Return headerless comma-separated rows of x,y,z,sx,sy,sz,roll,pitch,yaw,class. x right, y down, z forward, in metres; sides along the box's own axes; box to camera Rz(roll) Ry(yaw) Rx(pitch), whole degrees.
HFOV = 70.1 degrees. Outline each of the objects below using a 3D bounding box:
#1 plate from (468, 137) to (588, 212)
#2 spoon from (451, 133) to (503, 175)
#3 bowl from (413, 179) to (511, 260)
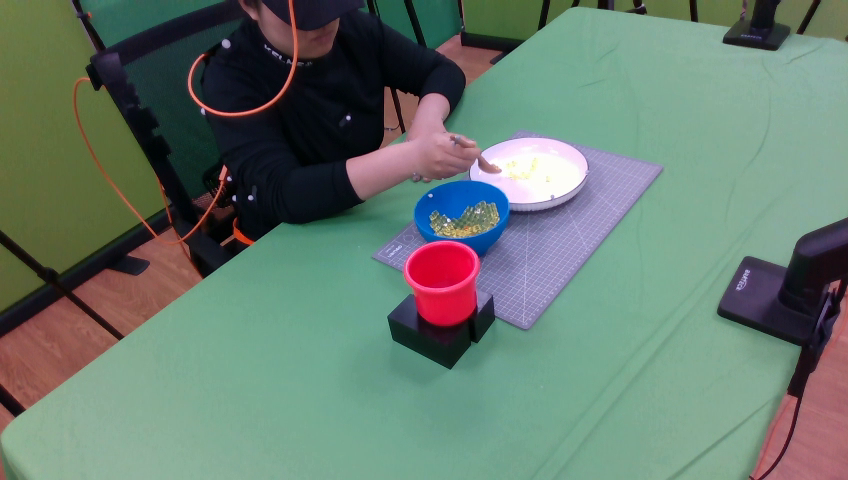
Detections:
0.182,-0.112,1.064,0.207,0.039,0.206,-5,40,5,plate
0.085,-0.140,0.986,0.041,0.195,0.021,20,85,29,spoon
0.062,-0.021,0.947,0.151,0.077,0.150,-5,40,5,bowl
